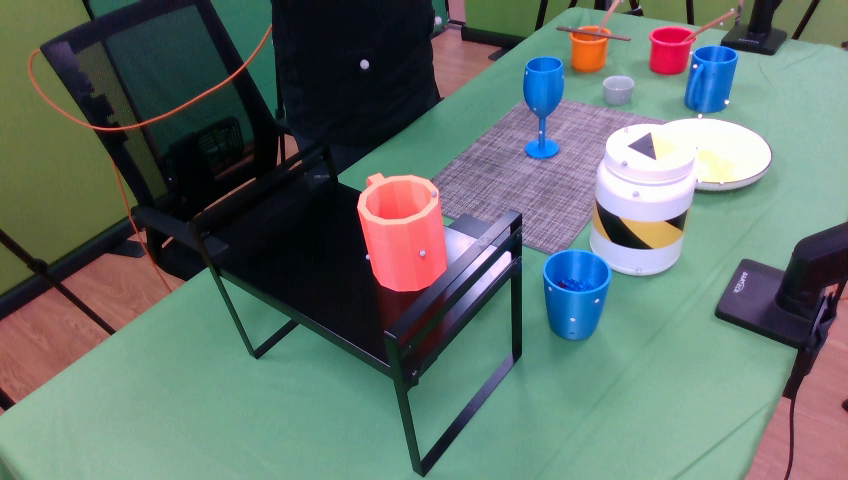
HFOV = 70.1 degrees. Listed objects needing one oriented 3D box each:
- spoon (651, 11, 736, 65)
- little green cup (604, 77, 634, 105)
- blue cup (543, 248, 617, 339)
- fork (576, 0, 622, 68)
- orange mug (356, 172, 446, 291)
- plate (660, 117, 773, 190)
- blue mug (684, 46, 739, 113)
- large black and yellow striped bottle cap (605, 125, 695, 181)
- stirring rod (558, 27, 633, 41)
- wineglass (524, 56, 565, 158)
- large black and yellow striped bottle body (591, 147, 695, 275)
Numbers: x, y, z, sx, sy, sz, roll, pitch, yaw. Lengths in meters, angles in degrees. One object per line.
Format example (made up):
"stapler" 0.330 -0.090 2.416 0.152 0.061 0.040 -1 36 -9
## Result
"spoon" 0.574 -0.431 1.297 0.022 0.193 0.041 42 48 -12
"little green cup" 0.407 -0.311 1.266 0.061 0.039 0.061 -4 40 4
"blue cup" 0.199 0.076 0.797 0.092 0.100 0.092 -4 39 4
"fork" 0.409 -0.484 1.381 0.028 0.019 0.207 37 101 46
"orange mug" -0.030 -0.018 0.669 0.084 0.101 0.125 -23 47 -16
"plate" 0.495 -0.148 1.063 0.209 0.038 0.208 -5 40 4
"blue mug" 0.556 -0.310 1.190 0.117 0.106 0.081 -32 46 -25
"large black and yellow striped bottle cap" 0.304 -0.120 0.817 0.115 0.019 0.114 -3 41 3
"stirring rod" 0.381 -0.463 1.356 0.175 0.006 0.014 21 47 30
"wineglass" 0.218 -0.239 1.101 0.074 0.173 0.073 -5 41 4
"large black and yellow striped bottle body" 0.313 -0.056 0.871 0.131 0.185 0.130 -4 40 4
